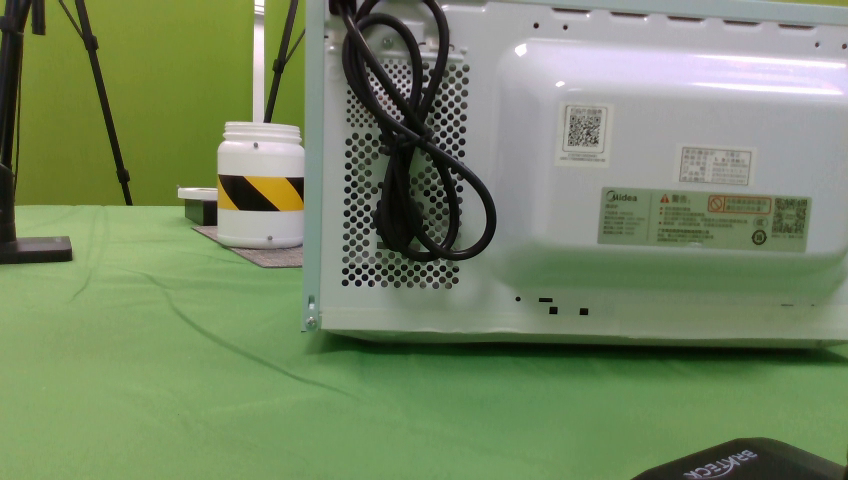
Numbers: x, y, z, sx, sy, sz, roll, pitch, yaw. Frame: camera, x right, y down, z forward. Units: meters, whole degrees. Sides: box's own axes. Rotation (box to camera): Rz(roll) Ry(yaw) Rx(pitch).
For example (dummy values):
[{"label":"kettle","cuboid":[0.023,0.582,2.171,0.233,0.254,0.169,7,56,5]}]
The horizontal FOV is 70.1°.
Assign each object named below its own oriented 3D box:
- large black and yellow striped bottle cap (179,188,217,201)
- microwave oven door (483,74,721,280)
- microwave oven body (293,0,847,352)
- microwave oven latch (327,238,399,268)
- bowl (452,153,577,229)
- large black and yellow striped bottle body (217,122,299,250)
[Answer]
[{"label":"large black and yellow striped bottle cap","cuboid":[-0.434,-0.093,1.226,0.115,0.019,0.115,3,9,0]},{"label":"microwave oven door","cuboid":[0.221,-0.093,0.843,0.039,0.243,0.354,-3,9,-38]},{"label":"microwave oven body","cuboid":[0.122,-0.055,0.550,0.442,0.260,0.325,3,7,-5]},{"label":"microwave oven latch","cuboid":[-0.069,0.015,0.694,0.079,0.029,0.030,3,7,-3]},{"label":"bowl","cuboid":[0.105,-0.056,0.739,0.151,0.077,0.151,8,3,0]},{"label":"large black and yellow striped bottle body","cuboid":[-0.250,-0.084,0.931,0.131,0.184,0.130,2,7,0]}]
